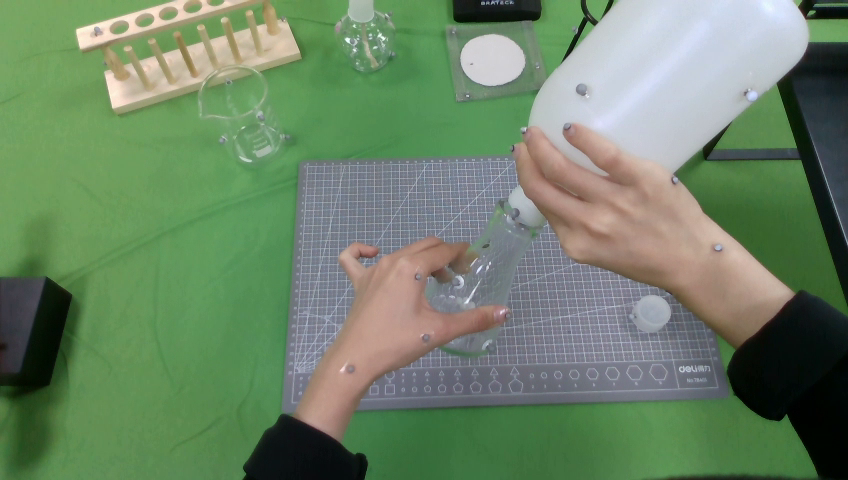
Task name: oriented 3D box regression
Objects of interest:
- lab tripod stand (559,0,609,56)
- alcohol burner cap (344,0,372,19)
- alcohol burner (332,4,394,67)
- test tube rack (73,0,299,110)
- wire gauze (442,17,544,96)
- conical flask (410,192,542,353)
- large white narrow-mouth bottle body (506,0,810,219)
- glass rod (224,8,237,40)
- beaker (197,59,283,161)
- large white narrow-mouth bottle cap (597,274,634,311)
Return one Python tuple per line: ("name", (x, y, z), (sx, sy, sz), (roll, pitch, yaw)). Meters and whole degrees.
("lab tripod stand", (0.220, -0.238, 0.726), (0.148, 0.132, 0.147), (1, 64, -1))
("alcohol burner cap", (-0.078, -0.292, 0.722), (0.034, 0.048, 0.033), (4, 63, -7))
("alcohol burner", (-0.077, -0.275, 0.754), (0.078, 0.120, 0.077), (0, 63, 0))
("test tube rack", (-0.289, -0.249, 0.757), (0.242, 0.086, 0.066), (-20, 66, -9))
("wire gauze", (0.091, -0.246, 0.798), (0.121, 0.011, 0.124), (-6, 65, -4))
("conical flask", (0.044, 0.022, 0.460), (0.075, 0.122, 0.074), (19, 34, -13))
("large white narrow-mouth bottle body", (0.127, -0.088, 0.387), (0.195, 0.102, 0.101), (-46, 65, 26))
("glass rod", (-0.242, -0.311, 0.712), (0.008, 0.201, 0.008), (2, 63, -4))
("beaker", (-0.210, -0.143, 0.700), (0.084, 0.101, 0.073), (-42, 71, -17))
("large white narrow-mouth bottle cap", (0.205, 0.057, 0.650), (0.038, 0.024, 0.037), (-1, 64, 2))
